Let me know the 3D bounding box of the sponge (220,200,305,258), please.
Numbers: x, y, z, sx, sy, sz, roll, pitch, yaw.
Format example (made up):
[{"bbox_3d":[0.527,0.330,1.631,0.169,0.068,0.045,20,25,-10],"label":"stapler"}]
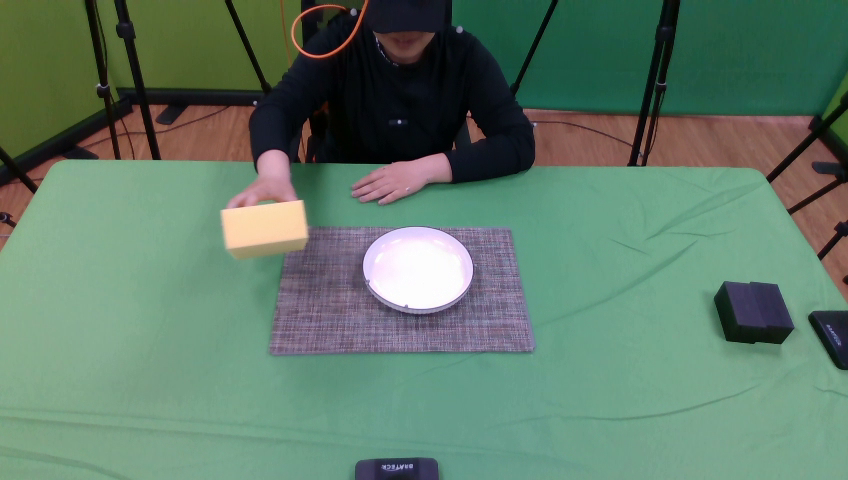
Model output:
[{"bbox_3d":[-0.263,-0.014,0.997,0.118,0.206,0.061,-9,87,-15],"label":"sponge"}]

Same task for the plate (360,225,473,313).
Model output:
[{"bbox_3d":[-0.014,0.057,1.127,0.208,0.039,0.206,2,46,-2],"label":"plate"}]
